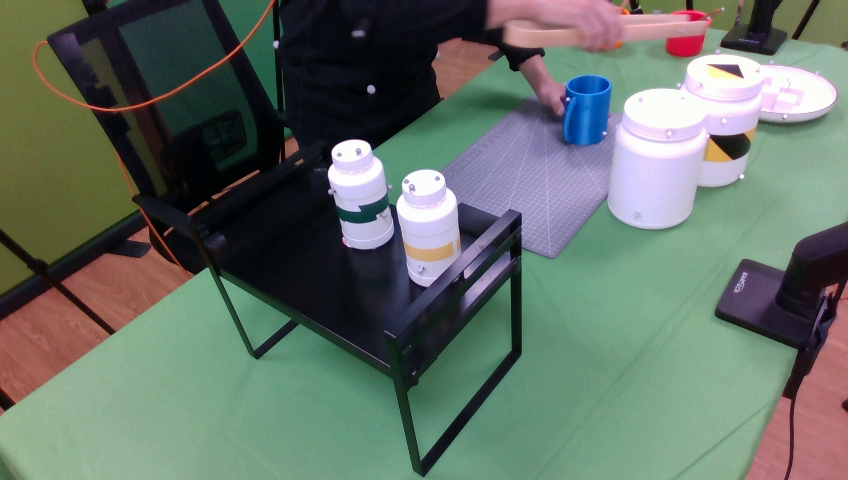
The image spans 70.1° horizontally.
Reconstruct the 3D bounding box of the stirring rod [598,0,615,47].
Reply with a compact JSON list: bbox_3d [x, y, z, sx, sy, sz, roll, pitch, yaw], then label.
[{"bbox_3d":[0.437,-0.551,1.462,0.014,0.006,0.175,-11,83,1],"label":"stirring rod"}]

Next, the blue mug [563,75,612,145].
[{"bbox_3d":[0.299,-0.239,1.143,0.081,0.106,0.117,29,54,35],"label":"blue mug"}]

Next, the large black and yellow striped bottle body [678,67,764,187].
[{"bbox_3d":[0.482,-0.196,1.007,0.131,0.185,0.130,-4,41,4],"label":"large black and yellow striped bottle body"}]

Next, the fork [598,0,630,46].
[{"bbox_3d":[0.480,-0.556,1.453,0.028,0.019,0.207,41,103,40],"label":"fork"}]

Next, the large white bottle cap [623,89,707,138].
[{"bbox_3d":[0.352,-0.187,0.886,0.115,0.018,0.114,-4,41,4],"label":"large white bottle cap"}]

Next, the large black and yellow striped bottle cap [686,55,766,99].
[{"bbox_3d":[0.474,-0.258,0.952,0.115,0.019,0.114,-5,41,5],"label":"large black and yellow striped bottle cap"}]

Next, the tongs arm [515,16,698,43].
[{"bbox_3d":[0.316,-0.350,1.001,0.387,0.026,0.050,-8,38,-20],"label":"tongs arm"}]

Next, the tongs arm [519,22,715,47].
[{"bbox_3d":[0.327,-0.336,0.981,0.390,0.028,0.028,-10,42,-23],"label":"tongs arm"}]

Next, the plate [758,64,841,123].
[{"bbox_3d":[0.694,-0.283,1.189,0.207,0.039,0.206,-4,40,4],"label":"plate"}]

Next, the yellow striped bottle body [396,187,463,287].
[{"bbox_3d":[0.006,-0.013,0.638,0.063,0.121,0.062,-5,41,4],"label":"yellow striped bottle body"}]

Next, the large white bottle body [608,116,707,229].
[{"bbox_3d":[0.362,-0.123,0.942,0.130,0.185,0.130,-5,41,4],"label":"large white bottle body"}]

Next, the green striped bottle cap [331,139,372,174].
[{"bbox_3d":[-0.080,-0.092,0.665,0.044,0.020,0.044,-3,40,3],"label":"green striped bottle cap"}]

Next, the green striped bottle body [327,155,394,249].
[{"bbox_3d":[-0.073,-0.053,0.699,0.063,0.120,0.063,-5,41,4],"label":"green striped bottle body"}]

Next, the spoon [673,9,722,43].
[{"bbox_3d":[0.606,-0.476,1.345,0.042,0.021,0.193,-6,-3,-2],"label":"spoon"}]

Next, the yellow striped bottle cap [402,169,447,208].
[{"bbox_3d":[0.000,-0.052,0.605,0.044,0.019,0.044,-5,43,5],"label":"yellow striped bottle cap"}]
